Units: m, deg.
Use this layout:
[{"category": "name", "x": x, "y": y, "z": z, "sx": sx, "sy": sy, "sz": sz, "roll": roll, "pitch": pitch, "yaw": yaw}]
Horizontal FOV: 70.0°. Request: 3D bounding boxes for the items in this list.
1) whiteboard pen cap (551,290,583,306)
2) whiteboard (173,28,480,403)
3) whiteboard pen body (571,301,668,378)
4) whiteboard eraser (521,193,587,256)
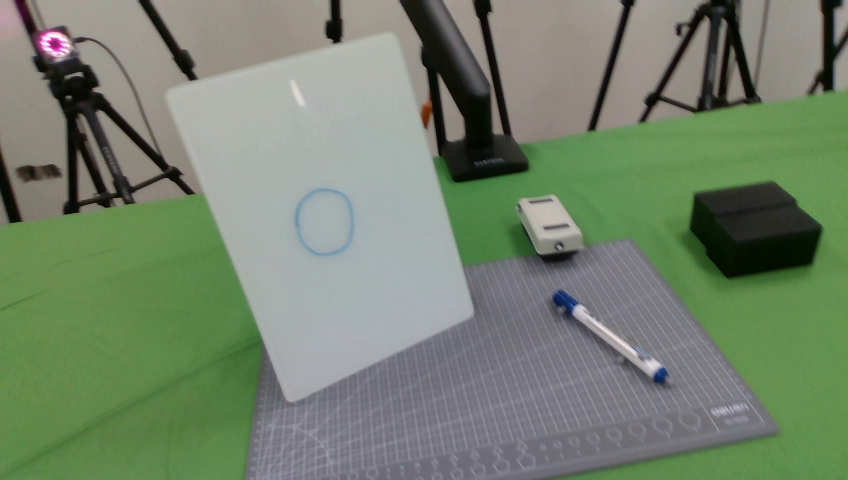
[{"category": "whiteboard pen cap", "x": 0.153, "y": 0.062, "z": 0.648, "sx": 0.033, "sy": 0.018, "sz": 0.018, "roll": 3, "pitch": 35, "yaw": 17}, {"category": "whiteboard", "x": -0.100, "y": -0.033, "z": 0.632, "sx": 0.217, "sy": 0.307, "sz": 0.143, "roll": -22, "pitch": 18, "yaw": -20}, {"category": "whiteboard pen body", "x": 0.185, "y": 0.091, "z": 0.604, "sx": 0.017, "sy": 0.017, "sz": 0.139, "roll": -22, "pitch": 37, "yaw": -21}, {"category": "whiteboard eraser", "x": 0.159, "y": -0.020, "z": 0.753, "sx": 0.055, "sy": 0.042, "sz": 0.111, "roll": -9, "pitch": 30, "yaw": -1}]
